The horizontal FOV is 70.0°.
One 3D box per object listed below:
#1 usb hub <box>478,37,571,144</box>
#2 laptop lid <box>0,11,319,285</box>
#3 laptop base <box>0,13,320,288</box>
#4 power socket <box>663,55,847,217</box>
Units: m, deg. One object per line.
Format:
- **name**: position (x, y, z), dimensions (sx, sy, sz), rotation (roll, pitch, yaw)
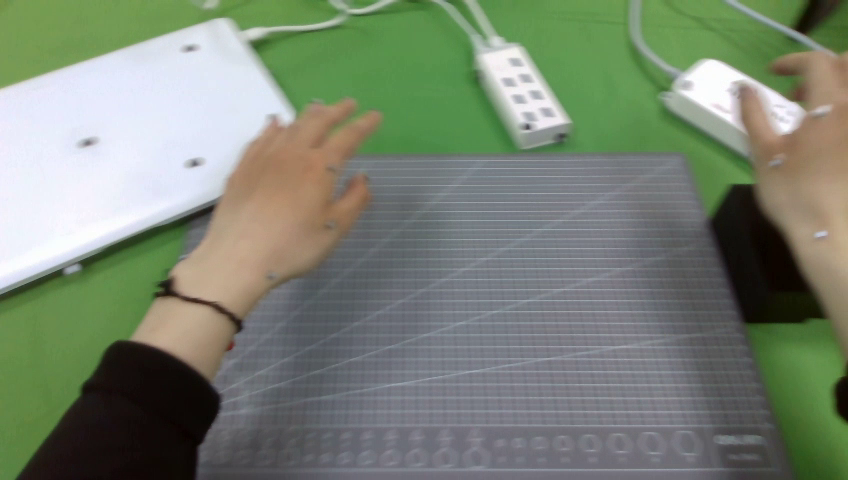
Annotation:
- **usb hub**: position (0.097, -0.151, 0.602), dimensions (0.049, 0.025, 0.124), rotation (-15, 57, -9)
- **laptop lid**: position (-0.301, -0.092, 0.552), dimensions (0.357, 0.013, 0.239), rotation (-24, 61, -15)
- **laptop base**: position (-0.302, -0.087, 0.563), dimensions (0.354, 0.023, 0.233), rotation (-26, 63, -16)
- **power socket**: position (0.335, -0.100, 0.565), dimensions (0.072, 0.033, 0.225), rotation (-37, 63, -23)
